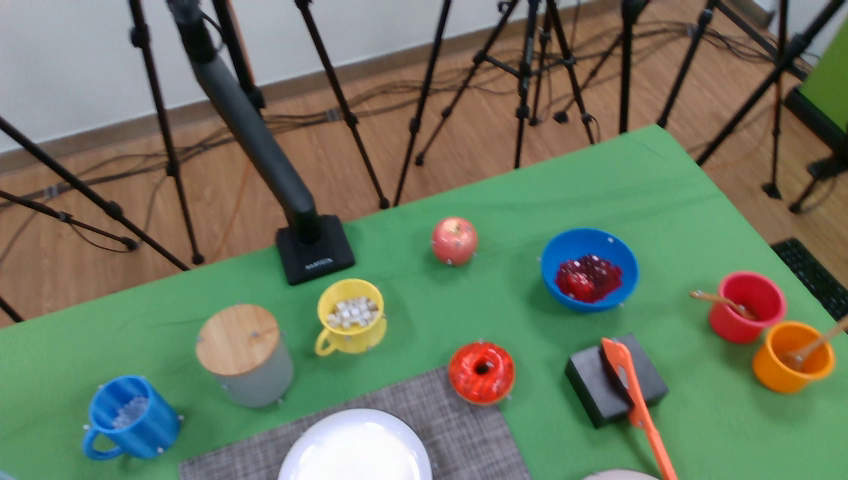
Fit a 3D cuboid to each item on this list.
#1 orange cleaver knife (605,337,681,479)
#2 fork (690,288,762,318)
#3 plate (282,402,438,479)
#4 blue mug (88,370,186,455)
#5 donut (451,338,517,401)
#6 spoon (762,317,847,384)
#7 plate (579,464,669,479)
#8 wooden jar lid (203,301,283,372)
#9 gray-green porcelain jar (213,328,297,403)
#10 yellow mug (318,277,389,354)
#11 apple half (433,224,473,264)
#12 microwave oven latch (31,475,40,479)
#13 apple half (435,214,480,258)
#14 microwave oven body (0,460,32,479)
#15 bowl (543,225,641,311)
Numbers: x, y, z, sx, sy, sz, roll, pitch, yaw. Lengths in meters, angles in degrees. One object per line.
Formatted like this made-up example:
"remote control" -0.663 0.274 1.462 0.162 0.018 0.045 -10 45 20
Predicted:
"orange cleaver knife" 0.301 0.234 0.843 0.012 0.077 0.210 -17 80 -11
"fork" 0.451 0.092 0.902 0.209 0.018 0.028 17 43 -39
"plate" -0.084 0.323 0.813 0.207 0.039 0.205 -1 54 1
"blue mug" -0.403 0.250 0.838 0.081 0.107 0.116 37 63 25
"donut" 0.089 0.192 0.899 0.099 0.048 0.098 0 54 1
"spoon" 0.570 0.141 0.862 0.022 0.194 0.041 15 36 -44
"plate" 0.261 0.392 0.757 0.209 0.038 0.207 -1 54 1
"wooden jar lid" -0.246 0.134 0.829 0.108 0.021 0.107 -2 52 2
"gray-green porcelain jar" -0.244 0.171 0.879 0.106 0.127 0.105 -1 54 1
"yellow mug" -0.117 0.126 0.946 0.099 0.064 0.130 32 62 22
"apple half" 0.041 0.016 1.014 0.081 0.082 0.032 29 55 21
"microwave oven latch" -0.517 0.350 0.788 0.030 0.030 0.078 -14 55 -9
"apple half" 0.063 -0.009 1.034 0.080 0.075 0.053 28 54 25
"microwave oven body" -0.610 0.465 0.588 0.326 0.262 0.437 -15 55 -9
"bowl" 0.263 0.058 0.975 0.151 0.077 0.150 -1 54 2
